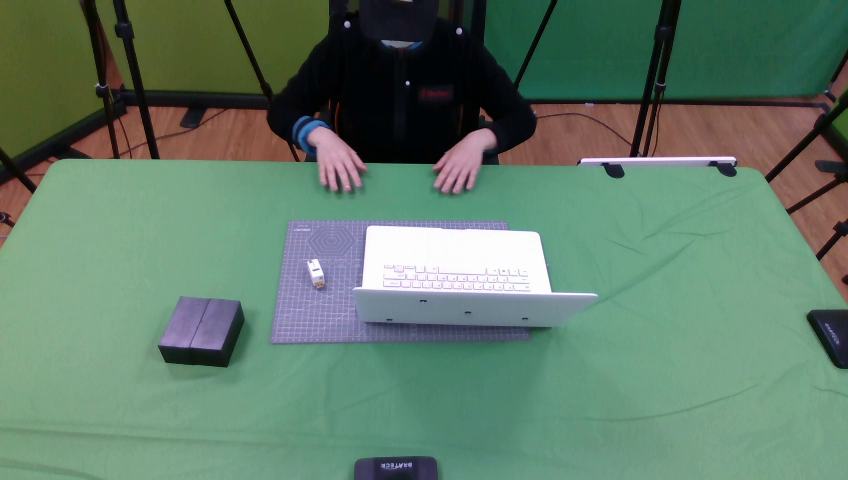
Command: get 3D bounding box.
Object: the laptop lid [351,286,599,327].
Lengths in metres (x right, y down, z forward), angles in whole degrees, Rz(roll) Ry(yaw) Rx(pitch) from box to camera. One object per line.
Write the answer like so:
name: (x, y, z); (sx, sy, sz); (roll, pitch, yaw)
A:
laptop lid: (0.068, 0.109, 0.952); (0.357, 0.242, 0.013); (2, 71, -4)

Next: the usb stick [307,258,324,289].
usb stick: (-0.198, 0.064, 1.114); (0.021, 0.027, 0.059); (-13, 51, -18)

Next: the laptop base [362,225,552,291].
laptop base: (0.061, 0.063, 1.145); (0.354, 0.023, 0.234); (2, 43, -3)
